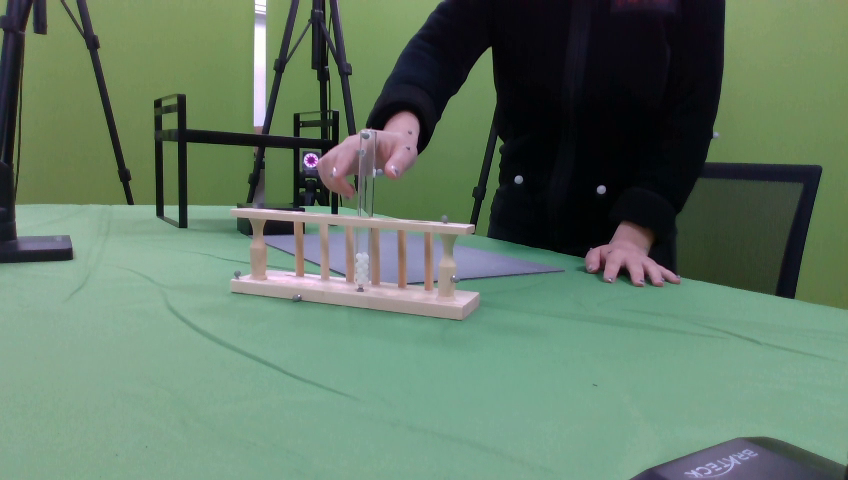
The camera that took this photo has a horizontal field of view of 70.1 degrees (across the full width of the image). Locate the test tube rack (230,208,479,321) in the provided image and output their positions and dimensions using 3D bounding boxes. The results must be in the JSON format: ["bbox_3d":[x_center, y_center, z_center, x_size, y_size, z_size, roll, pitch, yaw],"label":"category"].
[{"bbox_3d":[-0.069,0.018,0.598,0.242,0.085,0.067,5,8,18],"label":"test tube rack"}]

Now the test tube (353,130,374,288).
[{"bbox_3d":[-0.057,-0.028,0.569,0.017,0.150,0.017,3,11,0],"label":"test tube"}]
